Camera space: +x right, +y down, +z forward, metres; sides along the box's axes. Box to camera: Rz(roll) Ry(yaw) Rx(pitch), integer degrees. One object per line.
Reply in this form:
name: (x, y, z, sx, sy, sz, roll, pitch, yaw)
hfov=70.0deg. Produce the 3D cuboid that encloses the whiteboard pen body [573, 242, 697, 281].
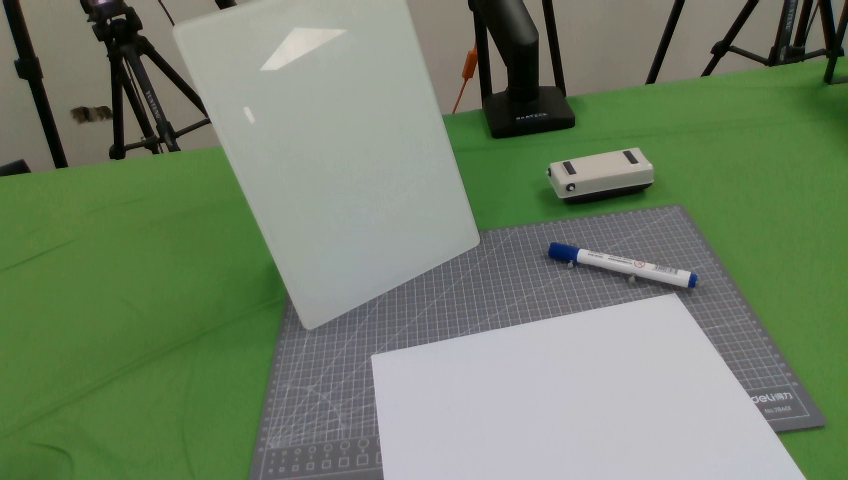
whiteboard pen body: (0.198, 0.019, 0.607, 0.140, 0.017, 0.017, 13, 44, 28)

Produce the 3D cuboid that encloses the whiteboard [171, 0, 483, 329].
whiteboard: (-0.101, -0.103, 0.646, 0.217, 0.307, 0.142, -26, 21, -19)

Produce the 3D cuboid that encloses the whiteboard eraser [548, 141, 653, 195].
whiteboard eraser: (0.209, -0.084, 0.721, 0.113, 0.042, 0.055, -9, 40, -1)

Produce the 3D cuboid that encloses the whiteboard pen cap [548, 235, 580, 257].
whiteboard pen cap: (0.149, 0.007, 0.635, 0.033, 0.018, 0.018, 16, 45, 26)
